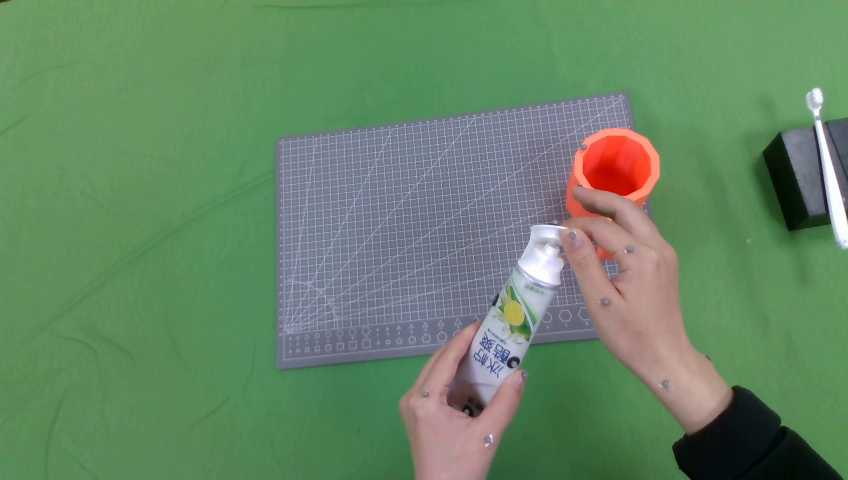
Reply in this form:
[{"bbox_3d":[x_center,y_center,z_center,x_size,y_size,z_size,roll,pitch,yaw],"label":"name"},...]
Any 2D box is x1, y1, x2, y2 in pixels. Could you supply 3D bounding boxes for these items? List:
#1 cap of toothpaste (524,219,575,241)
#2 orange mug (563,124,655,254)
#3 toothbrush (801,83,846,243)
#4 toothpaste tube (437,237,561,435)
[{"bbox_3d":[0.089,-0.006,0.431,0.037,0.037,0.011,5,80,9],"label":"cap of toothpaste"},{"bbox_3d":[0.199,-0.051,0.662,0.083,0.101,0.125,2,69,8],"label":"orange mug"},{"bbox_3d":[0.423,-0.085,0.639,0.014,0.017,0.181,-1,73,3],"label":"toothbrush"},{"bbox_3d":[0.058,0.069,0.460,0.054,0.035,0.165,38,115,35],"label":"toothpaste tube"}]
